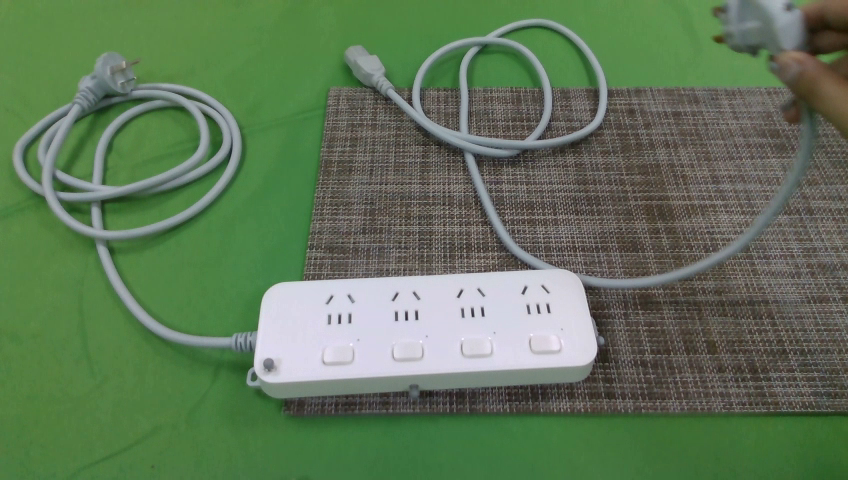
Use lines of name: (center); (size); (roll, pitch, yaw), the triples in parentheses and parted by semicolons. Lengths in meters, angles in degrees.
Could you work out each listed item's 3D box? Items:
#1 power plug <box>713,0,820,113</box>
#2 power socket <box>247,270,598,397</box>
power plug: (0.186, -0.103, 0.340); (0.035, 0.073, 0.052); (-18, 17, -12)
power socket: (0.001, 0.059, 0.389); (0.227, 0.033, 0.071); (-3, 54, -2)
